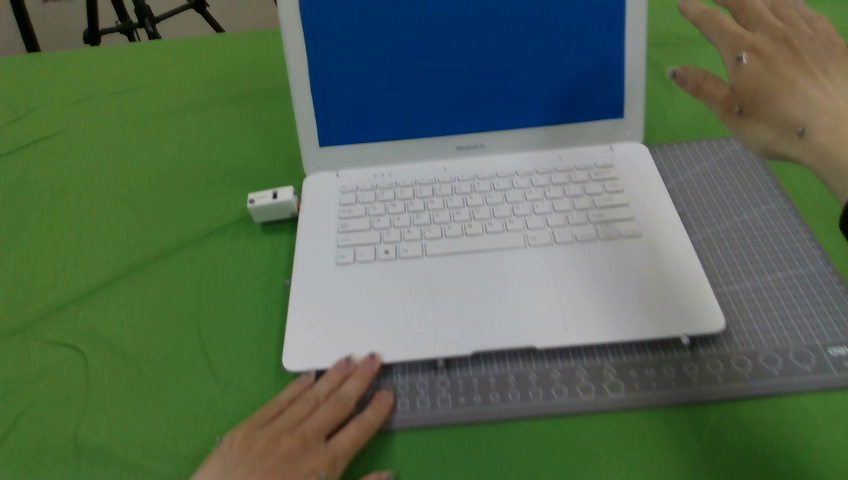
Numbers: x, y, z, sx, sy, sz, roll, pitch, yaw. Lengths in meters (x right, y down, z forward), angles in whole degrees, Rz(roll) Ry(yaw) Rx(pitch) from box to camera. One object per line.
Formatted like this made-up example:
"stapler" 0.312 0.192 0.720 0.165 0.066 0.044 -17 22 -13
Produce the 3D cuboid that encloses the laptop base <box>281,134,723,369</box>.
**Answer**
"laptop base" 0.055 0.001 0.552 0.354 0.023 0.233 -6 51 0

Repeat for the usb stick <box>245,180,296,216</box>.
"usb stick" -0.142 -0.042 0.593 0.059 0.027 0.021 -8 48 0

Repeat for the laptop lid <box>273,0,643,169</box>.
"laptop lid" 0.037 -0.196 0.591 0.357 0.243 0.013 -7 19 1
